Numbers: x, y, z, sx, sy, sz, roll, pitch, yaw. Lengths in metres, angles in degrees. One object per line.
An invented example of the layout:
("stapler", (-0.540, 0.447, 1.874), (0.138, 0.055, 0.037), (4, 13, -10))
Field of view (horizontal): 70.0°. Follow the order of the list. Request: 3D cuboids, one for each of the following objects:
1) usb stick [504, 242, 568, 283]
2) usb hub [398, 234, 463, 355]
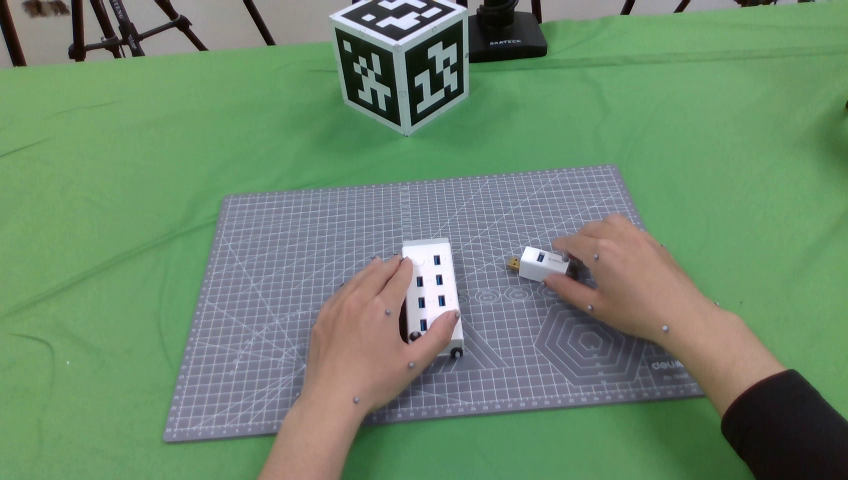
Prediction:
("usb stick", (0.106, 0.019, 0.579), (0.059, 0.027, 0.021), (13, 48, 20))
("usb hub", (0.003, 0.047, 0.561), (0.049, 0.025, 0.124), (-6, 45, -1))
